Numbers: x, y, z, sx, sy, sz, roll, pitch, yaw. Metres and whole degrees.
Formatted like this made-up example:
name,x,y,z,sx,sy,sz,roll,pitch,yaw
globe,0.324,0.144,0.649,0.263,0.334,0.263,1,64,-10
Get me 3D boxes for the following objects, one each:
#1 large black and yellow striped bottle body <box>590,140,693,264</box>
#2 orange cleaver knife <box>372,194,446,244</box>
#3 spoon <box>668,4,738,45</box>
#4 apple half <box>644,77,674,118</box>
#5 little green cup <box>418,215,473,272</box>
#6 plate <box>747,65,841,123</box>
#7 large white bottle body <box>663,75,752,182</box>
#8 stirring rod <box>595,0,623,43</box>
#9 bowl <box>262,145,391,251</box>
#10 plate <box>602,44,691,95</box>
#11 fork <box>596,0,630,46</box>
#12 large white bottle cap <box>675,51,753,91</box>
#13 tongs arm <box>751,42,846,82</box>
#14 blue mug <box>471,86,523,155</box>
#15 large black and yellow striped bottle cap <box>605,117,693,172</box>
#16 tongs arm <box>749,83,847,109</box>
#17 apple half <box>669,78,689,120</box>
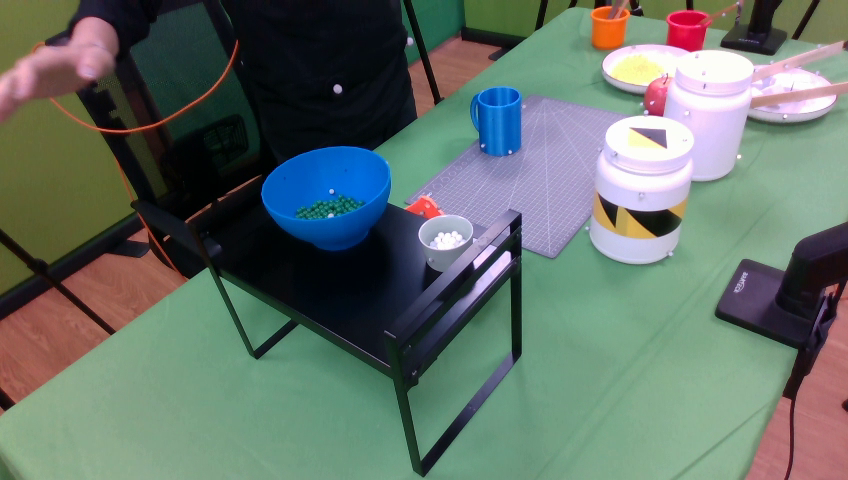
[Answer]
name,x,y,z,sx,sy,sz,roll,pitch,yaw
large black and yellow striped bottle body,0.317,-0.071,0.889,0.131,0.185,0.130,-4,41,4
orange cleaver knife,-0.032,-0.026,0.964,0.210,0.077,0.012,-9,29,51
spoon,0.618,-0.478,1.346,0.042,0.193,0.021,-25,89,-20
apple half,0.463,-0.279,1.194,0.053,0.075,0.081,8,46,24
little green cup,0.026,0.005,0.678,0.061,0.039,0.061,-4,40,4
plate,0.694,-0.282,1.189,0.207,0.039,0.206,-4,40,4
large white bottle body,0.472,-0.207,1.022,0.130,0.185,0.130,-4,41,4
stirring rod,0.460,-0.556,1.460,0.014,0.006,0.176,30,93,23
bowl,-0.108,-0.040,0.723,0.151,0.077,0.150,-4,40,4
plate,0.494,-0.367,1.317,0.209,0.038,0.208,-4,40,4
fork,0.481,-0.556,1.453,0.028,0.019,0.207,40,103,40
large white bottle cap,0.463,-0.271,0.967,0.115,0.018,0.114,-4,40,3
tongs arm,0.708,-0.331,1.194,0.386,0.026,0.050,-18,45,-16
blue mug,0.135,-0.235,1.163,0.082,0.106,0.115,-36,48,-28
large black and yellow striped bottle cap,0.309,-0.134,0.833,0.115,0.019,0.114,-5,40,5
tongs arm,0.734,-0.280,1.133,0.388,0.028,0.028,-9,47,-5
apple half,0.498,-0.273,1.180,0.032,0.082,0.081,7,42,25
